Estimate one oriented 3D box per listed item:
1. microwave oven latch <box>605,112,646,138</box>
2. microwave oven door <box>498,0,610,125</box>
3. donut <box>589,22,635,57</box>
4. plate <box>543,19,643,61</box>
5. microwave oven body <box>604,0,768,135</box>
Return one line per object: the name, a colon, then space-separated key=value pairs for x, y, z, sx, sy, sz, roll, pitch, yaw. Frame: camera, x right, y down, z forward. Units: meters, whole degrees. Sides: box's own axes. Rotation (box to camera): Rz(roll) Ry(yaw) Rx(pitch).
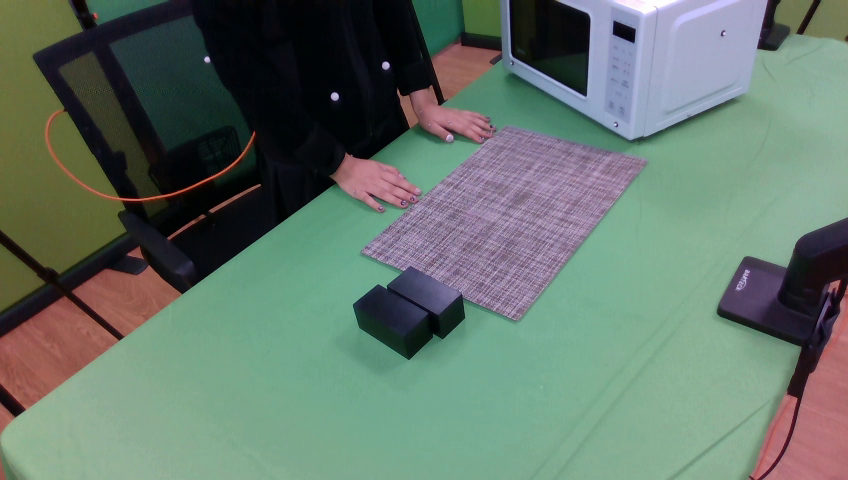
microwave oven latch: x=0.375 y=-0.217 z=1.130 sx=0.030 sy=0.029 sz=0.078 roll=-25 pitch=42 yaw=-16
microwave oven door: x=0.261 y=-0.410 z=1.219 sx=0.039 sy=0.245 sz=0.352 roll=-24 pitch=42 yaw=-17
donut: x=0.402 y=-0.429 z=1.294 sx=0.099 sy=0.048 sz=0.098 roll=3 pitch=50 yaw=-3
plate: x=0.359 y=-0.425 z=1.293 sx=0.209 sy=0.038 sz=0.208 roll=-1 pitch=36 yaw=1
microwave oven body: x=0.410 y=-0.441 z=1.235 sx=0.327 sy=0.261 sz=0.437 roll=-25 pitch=42 yaw=-16
